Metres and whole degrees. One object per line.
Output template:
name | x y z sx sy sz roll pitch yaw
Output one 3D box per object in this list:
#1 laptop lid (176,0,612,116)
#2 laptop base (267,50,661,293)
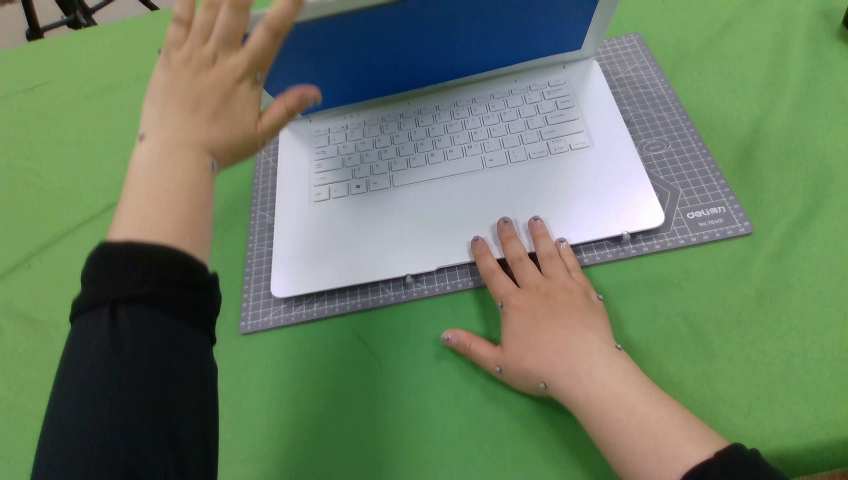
laptop lid | -0.005 -0.182 0.548 0.356 0.242 0.013 -11 85 6
laptop base | 0.021 -0.075 0.598 0.354 0.023 0.233 -11 56 4
